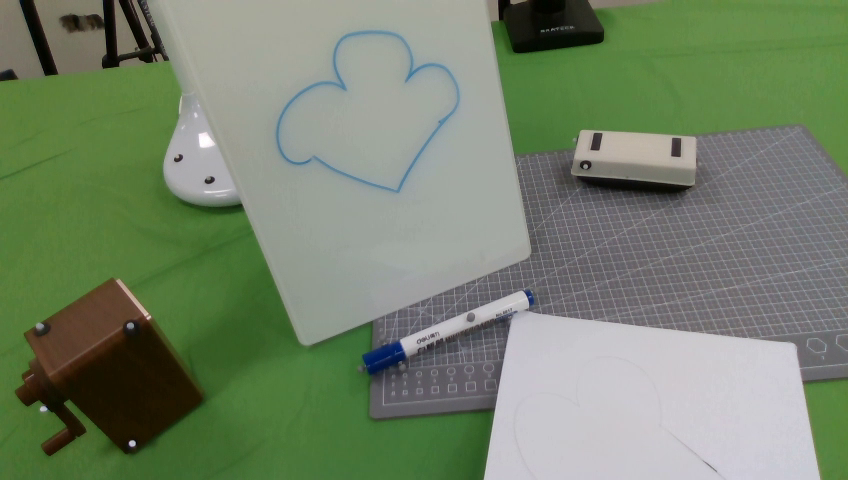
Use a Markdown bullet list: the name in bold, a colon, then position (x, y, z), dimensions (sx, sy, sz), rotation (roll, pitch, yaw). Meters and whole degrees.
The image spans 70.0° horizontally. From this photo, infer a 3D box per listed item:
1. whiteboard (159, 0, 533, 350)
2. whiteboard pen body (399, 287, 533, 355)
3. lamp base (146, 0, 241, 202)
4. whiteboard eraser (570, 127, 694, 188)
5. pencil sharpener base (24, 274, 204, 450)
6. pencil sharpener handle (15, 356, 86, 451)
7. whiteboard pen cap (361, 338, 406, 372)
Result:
- **whiteboard**: position (-0.057, -0.104, 0.511), dimensions (0.217, 0.308, 0.142), rotation (-21, 27, -11)
- **whiteboard pen body**: position (0.023, 0.068, 0.482), dimensions (0.141, 0.017, 0.017), rotation (-21, 46, -11)
- **lamp base**: position (-0.230, -0.156, 0.634), dimensions (0.177, 0.182, 0.160), rotation (26, 54, 32)
- **whiteboard eraser**: position (0.203, -0.080, 0.590), dimensions (0.112, 0.042, 0.055), rotation (8, 48, 16)
- **pencil sharpener base**: position (-0.222, 0.092, 0.440), dimensions (0.076, 0.108, 0.061), rotation (-38, 52, -25)
- **pencil sharpener handle**: position (-0.257, 0.112, 0.407), dimensions (0.030, 0.068, 0.035), rotation (-38, 39, -25)
- **whiteboard pen cap**: position (-0.031, 0.089, 0.471), dimensions (0.033, 0.018, 0.018), rotation (-22, 46, -11)
